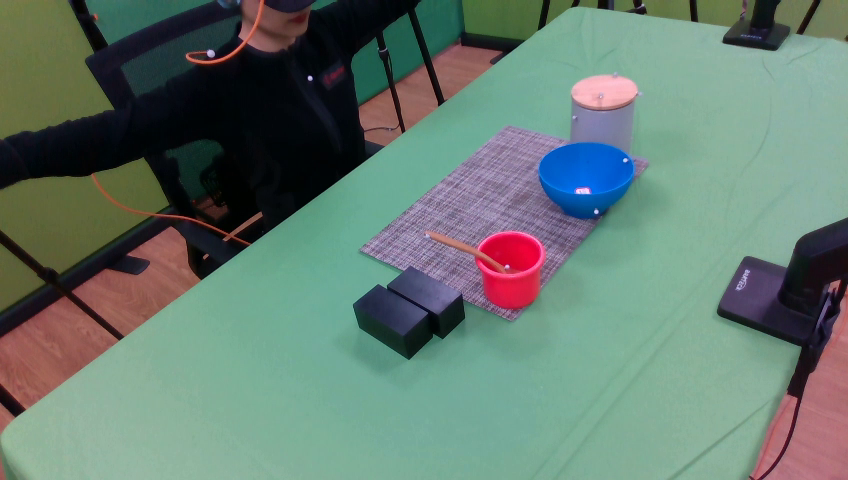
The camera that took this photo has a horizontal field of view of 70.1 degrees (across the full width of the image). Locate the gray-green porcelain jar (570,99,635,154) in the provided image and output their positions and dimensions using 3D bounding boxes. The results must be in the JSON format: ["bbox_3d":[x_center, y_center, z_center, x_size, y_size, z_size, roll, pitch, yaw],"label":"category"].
[{"bbox_3d":[0.313,-0.197,1.069,0.106,0.127,0.105,-5,40,5],"label":"gray-green porcelain jar"}]

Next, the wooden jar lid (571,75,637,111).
[{"bbox_3d":[0.305,-0.246,1.027,0.108,0.021,0.108,-5,41,5],"label":"wooden jar lid"}]

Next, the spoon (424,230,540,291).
[{"bbox_3d":[0.083,0.026,0.836,0.195,0.021,0.041,29,31,-24],"label":"spoon"}]

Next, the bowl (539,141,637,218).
[{"bbox_3d":[0.264,-0.089,0.989,0.151,0.077,0.150,-5,40,5],"label":"bowl"}]
